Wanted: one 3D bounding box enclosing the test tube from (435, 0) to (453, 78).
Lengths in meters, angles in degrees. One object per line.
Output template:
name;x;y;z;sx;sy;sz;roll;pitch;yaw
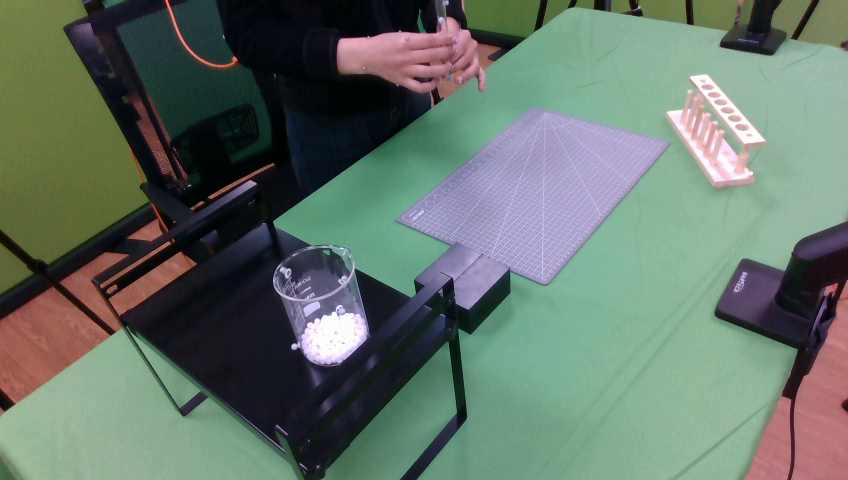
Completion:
test tube;0.032;-0.319;0.952;0.017;0.151;0.017;-4;52;6

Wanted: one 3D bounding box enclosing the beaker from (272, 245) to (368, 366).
beaker;-0.093;0.064;0.578;0.073;0.101;0.084;21;48;29

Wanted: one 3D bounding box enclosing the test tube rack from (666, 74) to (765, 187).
test tube rack;0.512;-0.202;1.082;0.067;0.085;0.241;-6;41;2
